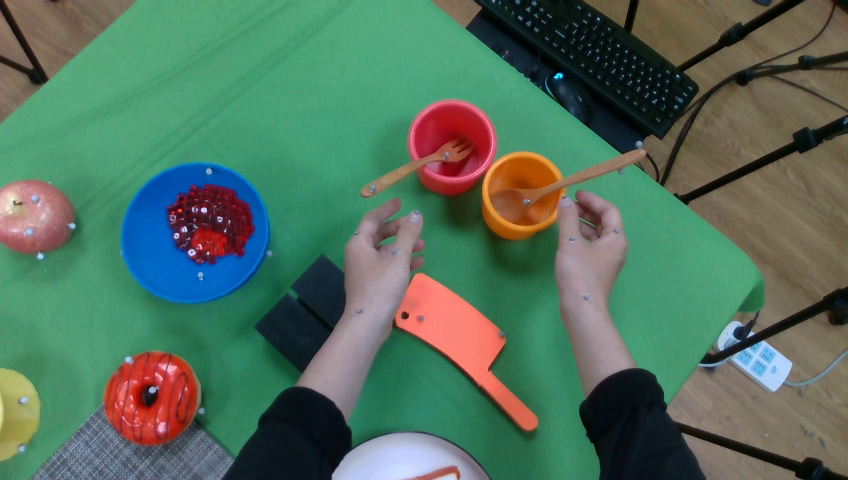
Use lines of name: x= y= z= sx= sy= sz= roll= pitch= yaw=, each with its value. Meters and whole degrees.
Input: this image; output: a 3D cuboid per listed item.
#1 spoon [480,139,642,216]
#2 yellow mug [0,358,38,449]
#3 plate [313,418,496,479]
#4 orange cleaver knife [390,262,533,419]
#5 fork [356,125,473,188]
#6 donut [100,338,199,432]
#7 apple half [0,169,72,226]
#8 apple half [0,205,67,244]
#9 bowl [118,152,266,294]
spoon: x=0.142 y=-0.068 z=0.655 sx=0.022 sy=0.193 sz=0.041 roll=1 pitch=74 yaw=-47
yellow mug: x=-0.472 y=0.186 z=0.621 sx=0.100 sy=0.064 sz=0.130 roll=18 pitch=79 yaw=1
plate: x=-0.020 y=0.291 z=0.632 sx=0.209 sy=0.038 sz=0.208 roll=0 pitch=79 yaw=-2
orange cleaver knife: x=0.051 y=0.111 z=0.681 sx=0.211 sy=0.012 sz=0.077 roll=41 pitch=74 yaw=7
fork: x=-0.006 y=-0.092 z=0.654 sx=0.028 sy=0.019 sz=0.207 roll=48 pitch=39 yaw=7
donut: x=-0.289 y=0.153 z=0.642 sx=0.099 sy=0.048 sz=0.098 roll=1 pitch=79 yaw=-3
apple half: x=-0.428 y=-0.049 z=0.665 sx=0.081 sy=0.075 sz=0.053 roll=8 pitch=72 yaw=3
apple half: x=-0.432 y=-0.011 z=0.656 sx=0.081 sy=0.081 sz=0.032 roll=8 pitch=73 yaw=0
bowl: x=-0.241 y=-0.012 z=0.663 sx=0.151 sy=0.077 sz=0.150 roll=1 pitch=79 yaw=-2
